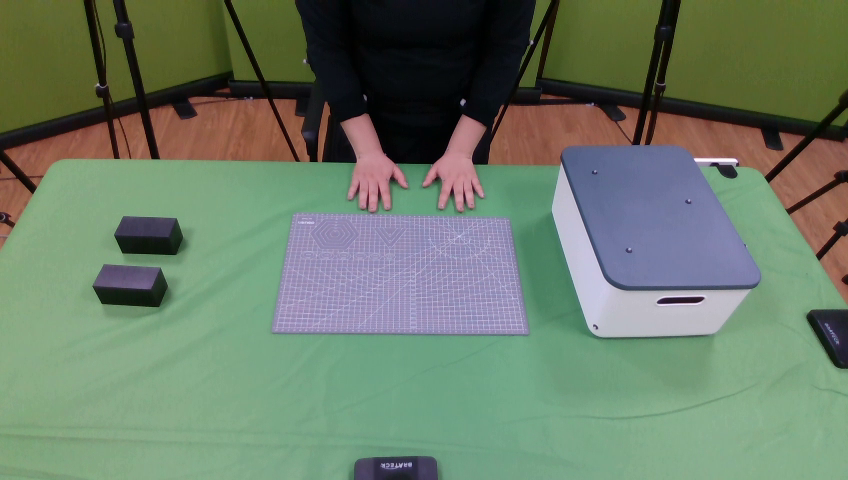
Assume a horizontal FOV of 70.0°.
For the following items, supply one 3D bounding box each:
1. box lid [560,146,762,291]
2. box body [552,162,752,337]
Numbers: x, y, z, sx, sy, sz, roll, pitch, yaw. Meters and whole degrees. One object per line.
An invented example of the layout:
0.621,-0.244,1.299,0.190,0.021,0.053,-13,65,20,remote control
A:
0.404,-0.052,1.076,0.263,0.015,0.369,-1,45,-5,box lid
0.401,-0.001,1.131,0.254,0.161,0.361,-1,46,-5,box body
